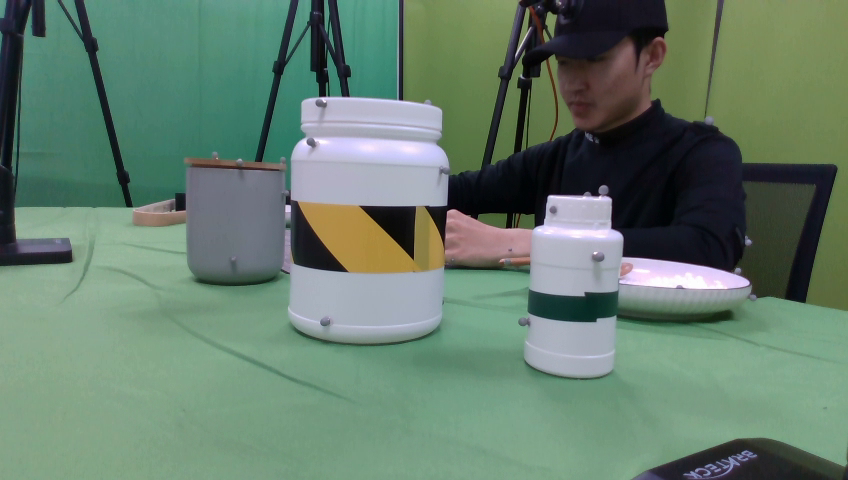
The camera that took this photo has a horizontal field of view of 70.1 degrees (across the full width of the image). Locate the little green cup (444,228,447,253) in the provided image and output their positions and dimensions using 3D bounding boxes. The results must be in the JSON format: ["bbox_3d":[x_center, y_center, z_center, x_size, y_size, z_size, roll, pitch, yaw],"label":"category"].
[{"bbox_3d":[0.006,0.002,0.920,0.061,0.038,0.061,-3,5,1],"label":"little green cup"}]

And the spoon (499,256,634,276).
[{"bbox_3d":[0.162,0.027,0.679,0.195,0.021,0.041,8,2,-30],"label":"spoon"}]

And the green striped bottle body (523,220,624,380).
[{"bbox_3d":[0.104,0.031,0.421,0.063,0.119,0.063,2,7,0],"label":"green striped bottle body"}]

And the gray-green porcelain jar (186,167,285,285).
[{"bbox_3d":[-0.212,-0.017,0.682,0.106,0.126,0.106,2,7,0],"label":"gray-green porcelain jar"}]

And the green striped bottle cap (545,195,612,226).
[{"bbox_3d":[0.106,-0.020,0.414,0.044,0.020,0.044,2,4,0],"label":"green striped bottle cap"}]

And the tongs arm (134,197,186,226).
[{"bbox_3d":[-0.556,-0.066,1.320,0.051,0.026,0.384,7,7,-5],"label":"tongs arm"}]

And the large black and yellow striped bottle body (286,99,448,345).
[{"bbox_3d":[-0.047,-0.018,0.501,0.131,0.184,0.130,2,7,0],"label":"large black and yellow striped bottle body"}]

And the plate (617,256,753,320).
[{"bbox_3d":[0.234,0.049,0.650,0.209,0.038,0.209,2,7,0],"label":"plate"}]

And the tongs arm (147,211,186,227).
[{"bbox_3d":[-0.478,-0.059,1.322,0.028,0.028,0.388,12,8,7],"label":"tongs arm"}]

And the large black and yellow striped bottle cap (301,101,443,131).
[{"bbox_3d":[-0.042,-0.100,0.491,0.115,0.019,0.115,1,8,0],"label":"large black and yellow striped bottle cap"}]

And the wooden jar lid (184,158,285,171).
[{"bbox_3d":[-0.210,-0.078,0.674,0.108,0.020,0.108,5,6,0],"label":"wooden jar lid"}]

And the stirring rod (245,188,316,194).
[{"bbox_3d":[-0.351,-0.120,1.489,0.177,0.014,0.006,-3,6,-29],"label":"stirring rod"}]

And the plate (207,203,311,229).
[{"bbox_3d":[-0.342,-0.050,1.259,0.208,0.039,0.207,2,7,0],"label":"plate"}]

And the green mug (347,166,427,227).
[{"bbox_3d":[-0.052,-0.073,0.958,0.104,0.092,0.125,9,29,21],"label":"green mug"}]
